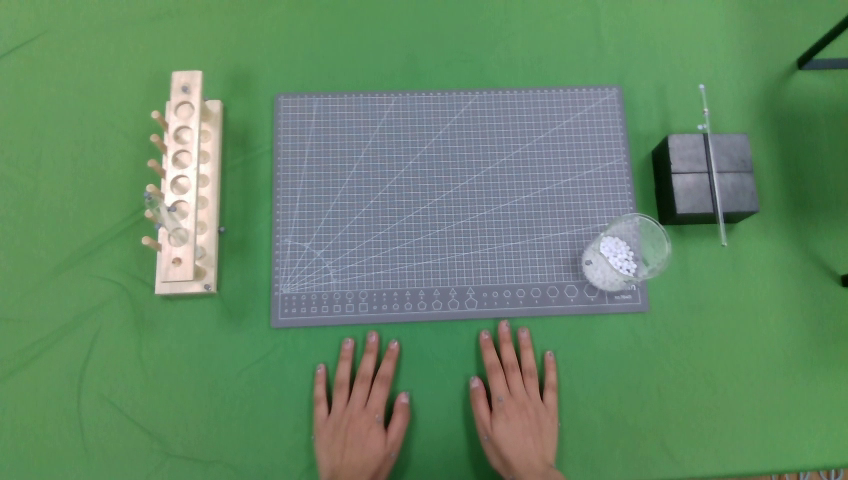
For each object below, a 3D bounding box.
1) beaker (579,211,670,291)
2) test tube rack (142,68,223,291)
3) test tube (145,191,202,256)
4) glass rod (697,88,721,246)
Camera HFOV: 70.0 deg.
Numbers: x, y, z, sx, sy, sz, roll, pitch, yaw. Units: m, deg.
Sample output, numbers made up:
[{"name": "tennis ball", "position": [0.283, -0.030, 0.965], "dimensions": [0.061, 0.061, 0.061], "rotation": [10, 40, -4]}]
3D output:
[{"name": "beaker", "position": [0.221, 0.017, 0.692], "dimensions": [0.084, 0.100, 0.073], "rotation": [0, 76, -1]}, {"name": "test tube rack", "position": [-0.282, -0.068, 0.700], "dimensions": [0.067, 0.085, 0.241], "rotation": [-2, 77, -2]}, {"name": "test tube", "position": [-0.260, -0.013, 0.637], "dimensions": [0.017, 0.151, 0.017], "rotation": [2, 69, -4]}, {"name": "glass rod", "position": [0.339, -0.090, 0.722], "dimensions": [0.008, 0.008, 0.198], "rotation": [0, 77, -2]}]
